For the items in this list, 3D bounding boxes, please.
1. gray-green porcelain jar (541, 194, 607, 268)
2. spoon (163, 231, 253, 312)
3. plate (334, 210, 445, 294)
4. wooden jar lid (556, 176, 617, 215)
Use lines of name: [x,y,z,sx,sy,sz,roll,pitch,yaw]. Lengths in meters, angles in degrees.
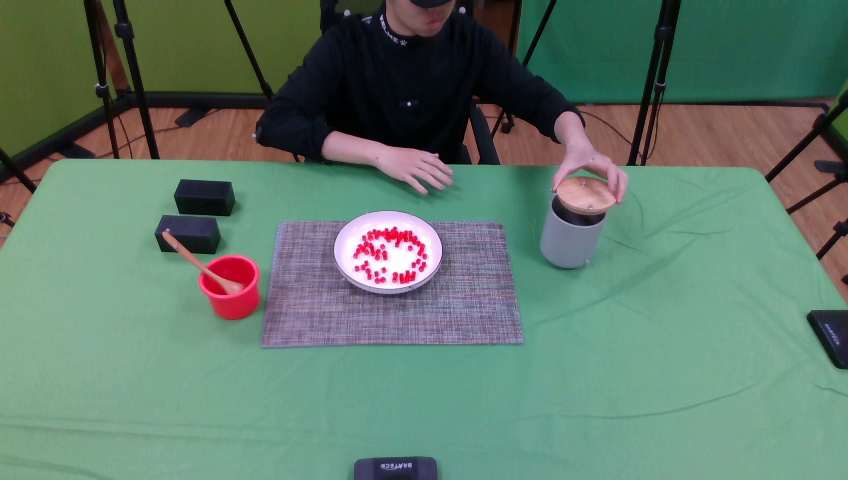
gray-green porcelain jar: [0.283,-0.017,1.161,0.106,0.127,0.105,2,46,-2]
spoon: [-0.364,0.054,1.024,0.194,0.021,0.041,43,49,-17]
plate: [-0.066,0.026,1.150,0.208,0.039,0.206,2,46,-2]
wooden jar lid: [0.295,-0.080,1.102,0.108,0.021,0.107,-1,40,1]
